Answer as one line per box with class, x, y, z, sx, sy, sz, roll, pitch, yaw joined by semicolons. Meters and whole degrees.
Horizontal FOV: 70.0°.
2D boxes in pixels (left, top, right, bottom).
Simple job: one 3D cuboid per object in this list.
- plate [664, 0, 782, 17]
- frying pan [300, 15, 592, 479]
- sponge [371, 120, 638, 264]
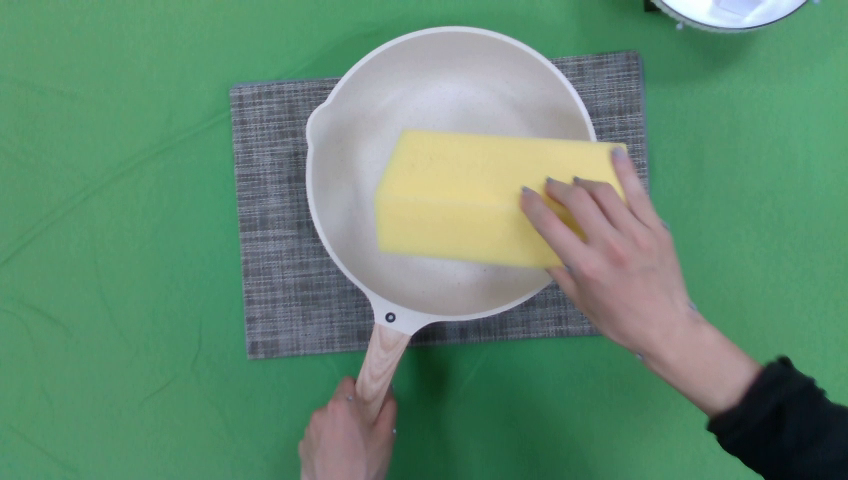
plate;0.289;-0.317;0.590;0.208;0.039;0.207;0;90;1
frying pan;-0.012;0.020;0.613;0.306;0.103;0.486;21;83;3
sponge;0.068;-0.047;0.525;0.206;0.117;0.061;5;129;9
